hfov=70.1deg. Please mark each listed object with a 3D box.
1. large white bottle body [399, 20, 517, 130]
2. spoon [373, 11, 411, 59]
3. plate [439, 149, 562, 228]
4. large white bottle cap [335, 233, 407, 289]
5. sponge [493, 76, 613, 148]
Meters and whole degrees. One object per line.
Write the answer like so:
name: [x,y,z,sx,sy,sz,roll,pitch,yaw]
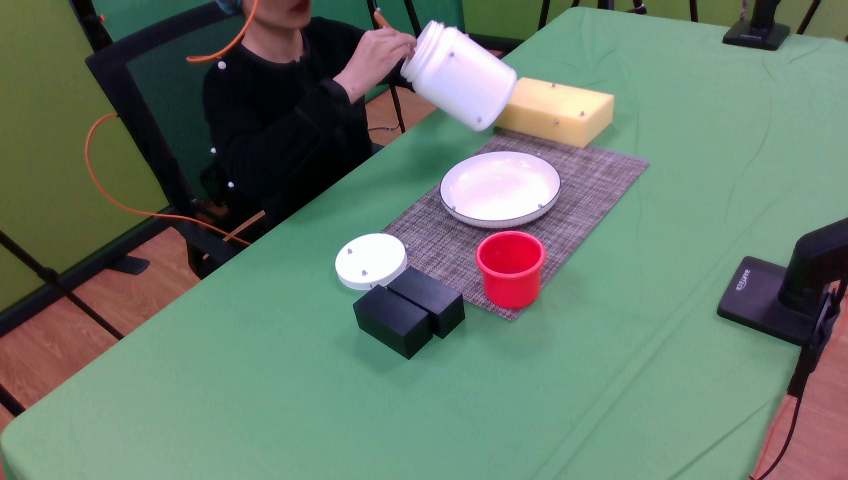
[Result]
large white bottle body: [0.060,-0.299,1.097,0.185,0.130,0.130,30,40,-16]
spoon: [-0.031,-0.338,1.088,0.021,0.195,0.041,20,76,49]
plate: [0.131,-0.085,1.040,0.209,0.038,0.208,-5,41,5]
large white bottle cap: [-0.085,0.032,0.961,0.115,0.018,0.114,-6,42,6]
sponge: [0.254,-0.259,1.207,0.205,0.061,0.118,22,47,31]
